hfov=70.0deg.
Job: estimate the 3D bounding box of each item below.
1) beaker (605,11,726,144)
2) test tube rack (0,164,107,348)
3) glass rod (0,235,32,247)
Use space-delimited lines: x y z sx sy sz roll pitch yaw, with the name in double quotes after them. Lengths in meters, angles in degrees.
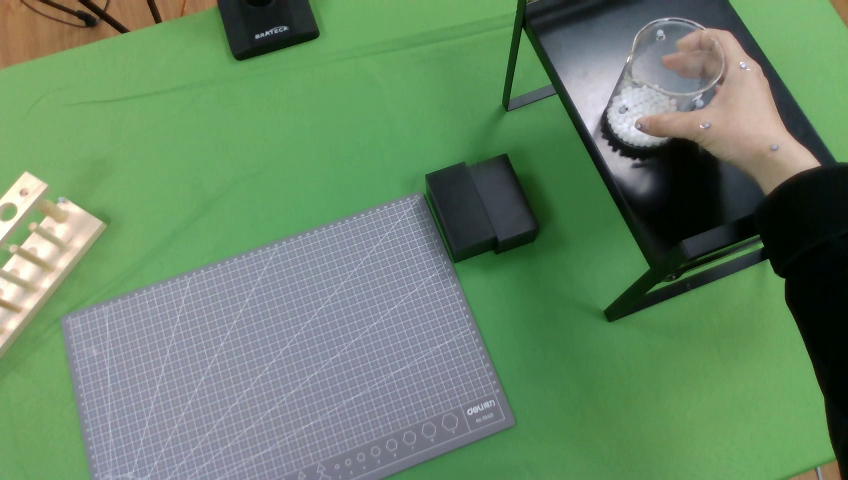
0.202 -0.135 0.530 0.084 0.101 0.073 -20 72 -4 "beaker"
-0.482 0.041 0.680 0.066 0.085 0.241 30 75 11 "test tube rack"
-0.476 -0.015 0.629 0.008 0.200 0.008 0 78 2 "glass rod"
